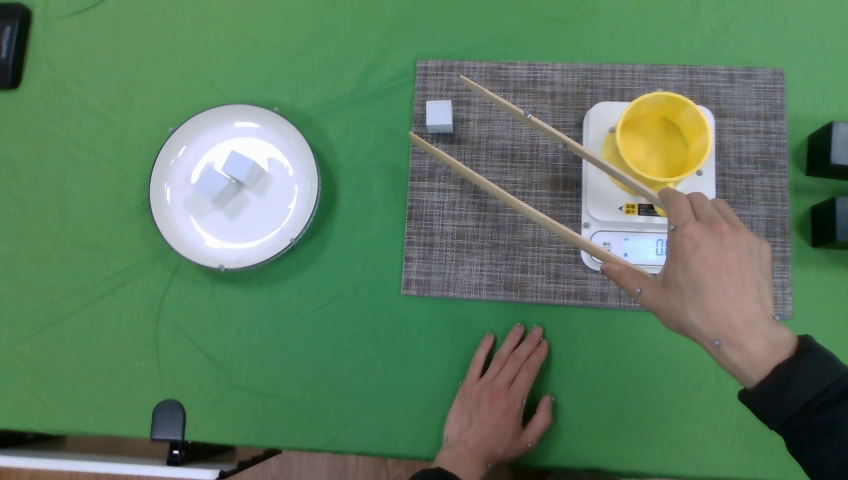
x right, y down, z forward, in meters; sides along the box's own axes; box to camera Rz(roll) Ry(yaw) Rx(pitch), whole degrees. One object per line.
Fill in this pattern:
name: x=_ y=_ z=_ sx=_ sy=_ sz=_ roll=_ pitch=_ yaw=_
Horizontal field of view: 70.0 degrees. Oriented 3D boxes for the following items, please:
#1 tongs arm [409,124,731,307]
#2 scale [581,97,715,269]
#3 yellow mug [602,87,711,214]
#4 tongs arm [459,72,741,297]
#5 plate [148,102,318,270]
tongs arm: x=0.111 y=-0.039 z=0.595 sx=0.028 sy=0.028 sz=0.383 roll=-47 pitch=53 yaw=-8
scale: x=0.262 y=-0.068 z=0.709 sx=0.148 sy=0.031 sz=0.200 roll=2 pitch=82 yaw=5
yellow mug: x=0.255 y=-0.094 z=0.666 sx=0.100 sy=0.064 sz=0.130 roll=-8 pitch=82 yaw=2
tongs arm: x=0.145 y=-0.075 z=0.596 sx=0.051 sy=0.027 sz=0.380 roll=-46 pitch=53 yaw=-3
plate: x=-0.230 y=-0.064 z=0.744 sx=0.207 sy=0.039 sz=0.207 roll=-1 pitch=81 yaw=4
